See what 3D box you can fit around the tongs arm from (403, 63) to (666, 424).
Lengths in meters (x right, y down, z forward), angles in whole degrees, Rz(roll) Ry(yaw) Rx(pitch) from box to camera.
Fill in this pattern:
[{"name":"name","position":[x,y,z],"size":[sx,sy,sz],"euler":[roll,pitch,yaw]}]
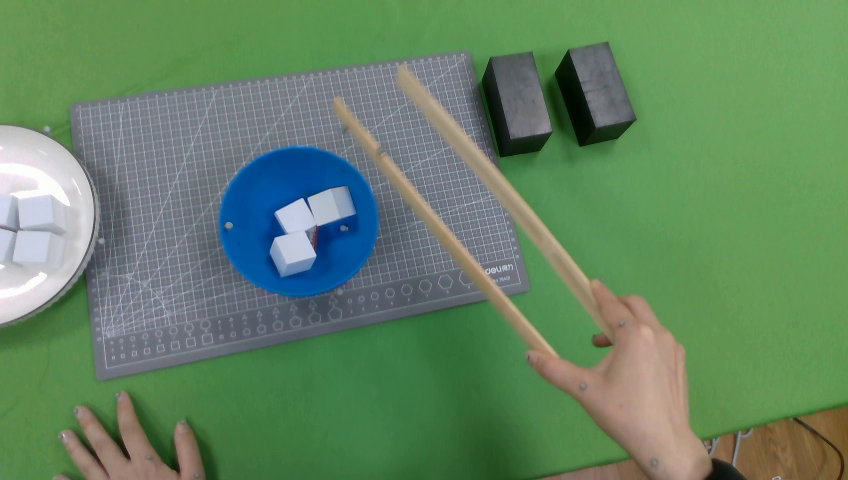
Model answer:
[{"name":"tongs arm","position":[0.085,-0.013,0.533],"size":[0.028,0.028,0.385],"euler":[-26,71,-27]}]

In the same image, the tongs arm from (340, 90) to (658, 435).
[{"name":"tongs arm","position":[0.050,0.006,0.516],"size":[0.051,0.026,0.382],"euler":[-29,72,-24]}]

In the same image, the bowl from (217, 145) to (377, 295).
[{"name":"bowl","position":[-0.124,-0.012,0.614],"size":[0.152,0.077,0.150],"euler":[2,76,-7]}]

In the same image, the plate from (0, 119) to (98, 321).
[{"name":"plate","position":[-0.429,-0.018,0.600],"size":[0.208,0.039,0.206],"euler":[1,76,-6]}]
